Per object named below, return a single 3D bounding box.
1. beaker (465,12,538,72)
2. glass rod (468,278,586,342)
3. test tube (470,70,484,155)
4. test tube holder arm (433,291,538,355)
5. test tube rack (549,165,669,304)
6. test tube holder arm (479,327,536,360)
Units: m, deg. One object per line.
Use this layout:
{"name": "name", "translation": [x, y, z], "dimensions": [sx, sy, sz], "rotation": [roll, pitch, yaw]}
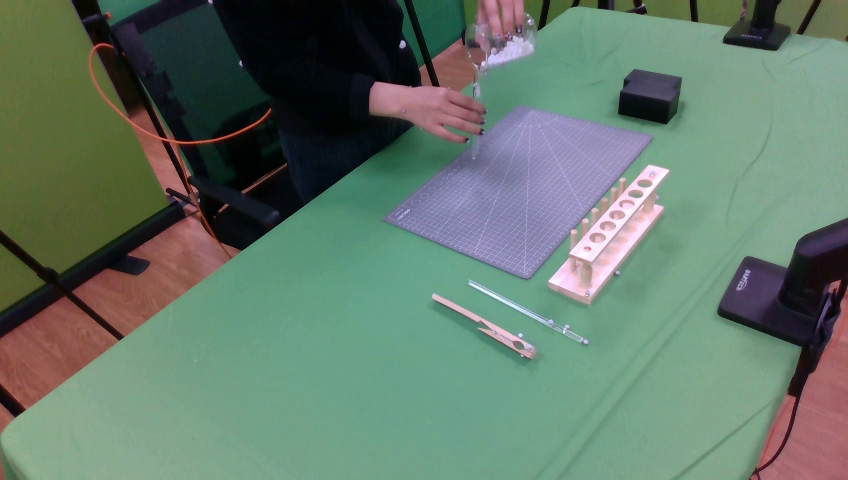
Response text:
{"name": "beaker", "translation": [0.128, -0.323, 0.985], "dimensions": [0.100, 0.084, 0.073], "rotation": [-20, 44, -15]}
{"name": "glass rod", "translation": [0.140, 0.096, 0.853], "dimensions": [0.198, 0.008, 0.008], "rotation": [27, 53, 35]}
{"name": "test tube", "translation": [0.090, -0.216, 1.037], "dimensions": [0.017, 0.150, 0.017], "rotation": [1, 31, 0]}
{"name": "test tube holder arm", "translation": [0.081, 0.112, 0.832], "dimensions": [0.177, 0.015, 0.013], "rotation": [29, 82, 36]}
{"name": "test tube rack", "translation": [0.279, -0.018, 0.902], "dimensions": [0.066, 0.085, 0.243], "rotation": [24, 50, 33]}
{"name": "test tube holder arm", "translation": [0.110, 0.134, 0.805], "dimensions": [0.087, 0.015, 0.010], "rotation": [29, 83, 36]}
